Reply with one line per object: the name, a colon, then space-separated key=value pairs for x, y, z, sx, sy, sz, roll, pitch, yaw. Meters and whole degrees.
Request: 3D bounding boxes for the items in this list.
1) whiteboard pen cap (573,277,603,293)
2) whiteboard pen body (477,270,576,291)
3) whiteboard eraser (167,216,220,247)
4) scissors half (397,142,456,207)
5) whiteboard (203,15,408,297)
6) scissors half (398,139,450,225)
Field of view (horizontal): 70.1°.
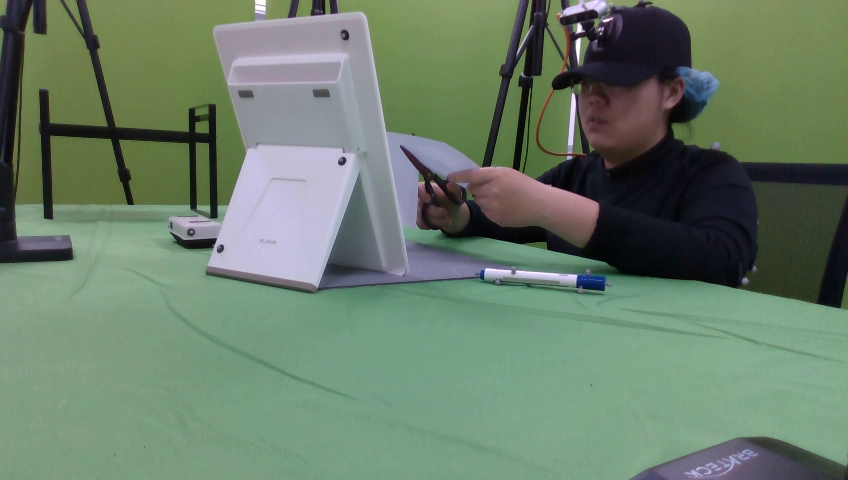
whiteboard pen cap: x=0.186 y=0.051 z=0.687 sx=0.033 sy=0.018 sz=0.018 roll=4 pitch=8 yaw=17
whiteboard pen body: x=0.131 y=0.048 z=0.706 sx=0.140 sy=0.017 sz=0.017 roll=4 pitch=7 yaw=18
whiteboard eraser: x=-0.350 y=-0.013 z=0.920 sx=0.056 sy=0.042 sz=0.112 roll=0 pitch=7 yaw=-35
scissors half: x=0.006 y=-0.108 z=0.988 sx=0.012 sy=0.040 sz=0.176 roll=-2 pitch=-28 yaw=36
whiteboard: x=-0.166 y=-0.072 z=0.668 sx=0.216 sy=0.305 sz=0.144 roll=8 pitch=30 yaw=30
scissors half: x=-0.001 y=-0.091 z=0.978 sx=0.013 sy=0.175 sz=0.040 roll=-7 pitch=38 yaw=33
